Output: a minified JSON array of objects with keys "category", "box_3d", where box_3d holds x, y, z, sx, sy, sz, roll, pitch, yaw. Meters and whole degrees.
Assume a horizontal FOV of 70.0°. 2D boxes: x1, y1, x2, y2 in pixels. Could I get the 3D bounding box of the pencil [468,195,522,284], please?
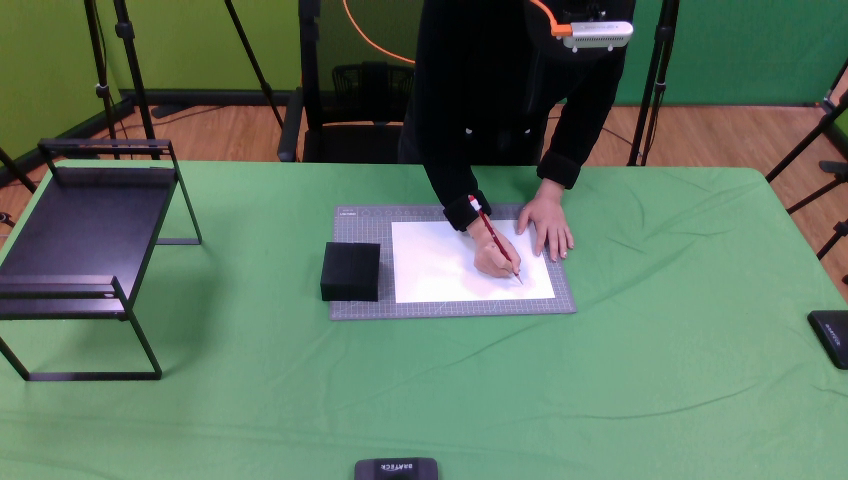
[{"category":"pencil","box_3d":[0.134,0.000,1.123,0.012,0.012,0.194,-36,100,-32]}]
